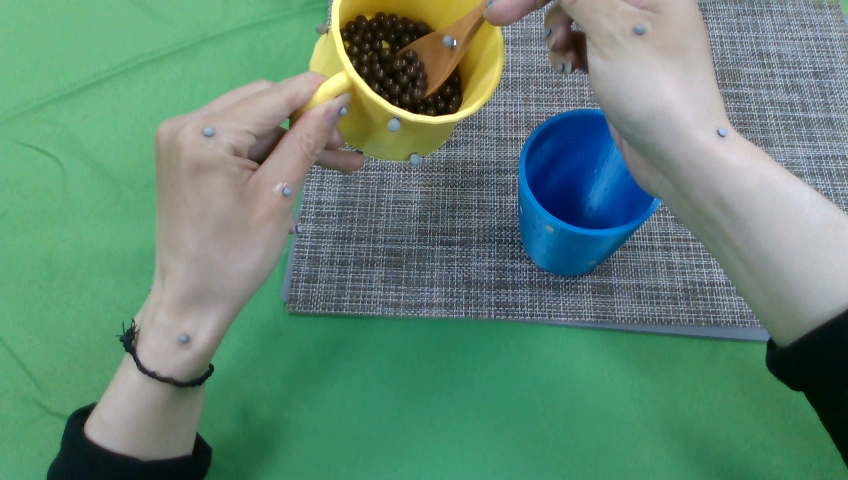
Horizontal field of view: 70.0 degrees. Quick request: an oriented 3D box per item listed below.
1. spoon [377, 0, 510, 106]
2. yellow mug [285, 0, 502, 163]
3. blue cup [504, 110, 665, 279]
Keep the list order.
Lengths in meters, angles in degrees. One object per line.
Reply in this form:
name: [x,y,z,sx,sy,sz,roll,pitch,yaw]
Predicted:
spoon: [0.044,-0.128,0.322,0.022,0.193,0.041,15,58,-42]
yellow mug: [-0.024,-0.094,0.349,0.131,0.064,0.100,-37,94,-22]
blue cup: [0.099,-0.020,0.397,0.092,0.101,0.092,-1,66,3]
